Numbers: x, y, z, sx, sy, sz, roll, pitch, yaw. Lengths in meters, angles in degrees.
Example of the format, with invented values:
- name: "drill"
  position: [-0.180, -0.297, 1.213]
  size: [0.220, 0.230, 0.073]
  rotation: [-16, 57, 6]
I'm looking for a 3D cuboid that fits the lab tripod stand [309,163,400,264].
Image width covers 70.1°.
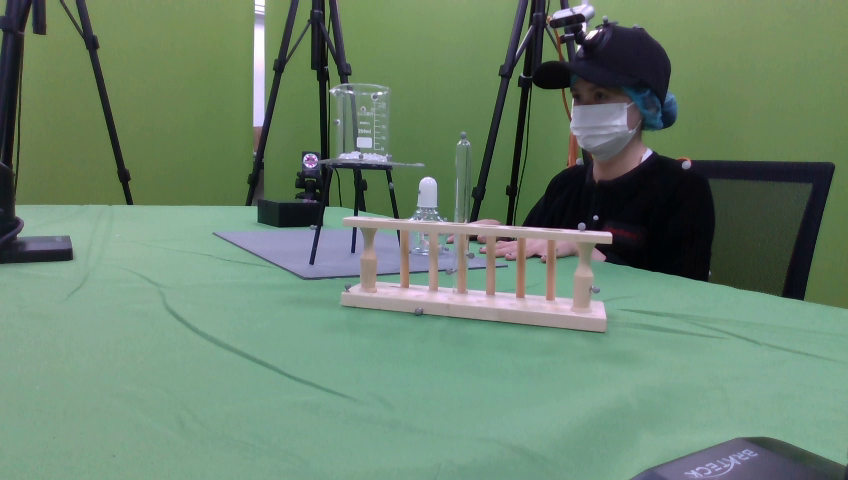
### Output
- name: "lab tripod stand"
  position: [-0.091, -0.037, 0.813]
  size: [0.148, 0.131, 0.148]
  rotation: [1, 6, 0]

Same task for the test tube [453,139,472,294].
- name: "test tube"
  position: [0.037, -0.021, 0.584]
  size: [0.017, 0.150, 0.017]
  rotation: [1, 7, 0]

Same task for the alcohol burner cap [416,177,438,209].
- name: "alcohol burner cap"
  position: [0.005, -0.072, 0.914]
  size: [0.034, 0.048, 0.034]
  rotation: [3, 9, 0]

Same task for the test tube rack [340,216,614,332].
- name: "test tube rack"
  position: [0.048, 0.026, 0.568]
  size: [0.242, 0.085, 0.067]
  rotation: [4, 8, 13]

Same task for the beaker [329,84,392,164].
- name: "beaker"
  position: [-0.084, -0.149, 0.794]
  size: [0.084, 0.100, 0.073]
  rotation: [-1, 6, -23]

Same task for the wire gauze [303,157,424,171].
- name: "wire gauze"
  position: [-0.082, -0.101, 0.799]
  size: [0.126, 0.011, 0.121]
  rotation: [1, 7, -30]

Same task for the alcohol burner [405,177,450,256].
- name: "alcohol burner"
  position: [0.004, -0.036, 0.917]
  size: [0.078, 0.119, 0.078]
  rotation: [3, 5, 0]
